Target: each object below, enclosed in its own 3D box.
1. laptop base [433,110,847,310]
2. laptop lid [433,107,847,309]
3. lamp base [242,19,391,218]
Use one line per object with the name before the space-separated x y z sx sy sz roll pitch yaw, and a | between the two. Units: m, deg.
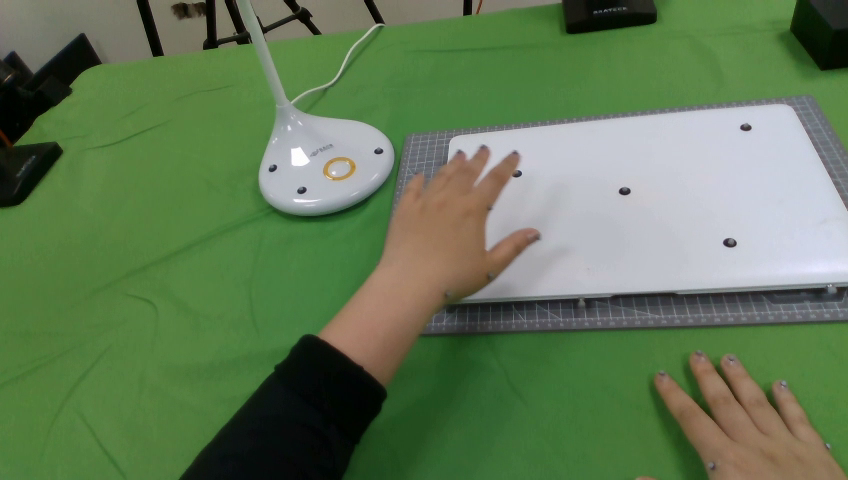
laptop base | 0.190 -0.032 0.581 0.354 0.023 0.233 -4 48 11
laptop lid | 0.187 -0.038 0.571 0.356 0.013 0.239 -3 48 12
lamp base | -0.139 -0.140 0.657 0.160 0.182 0.177 -40 47 -24
